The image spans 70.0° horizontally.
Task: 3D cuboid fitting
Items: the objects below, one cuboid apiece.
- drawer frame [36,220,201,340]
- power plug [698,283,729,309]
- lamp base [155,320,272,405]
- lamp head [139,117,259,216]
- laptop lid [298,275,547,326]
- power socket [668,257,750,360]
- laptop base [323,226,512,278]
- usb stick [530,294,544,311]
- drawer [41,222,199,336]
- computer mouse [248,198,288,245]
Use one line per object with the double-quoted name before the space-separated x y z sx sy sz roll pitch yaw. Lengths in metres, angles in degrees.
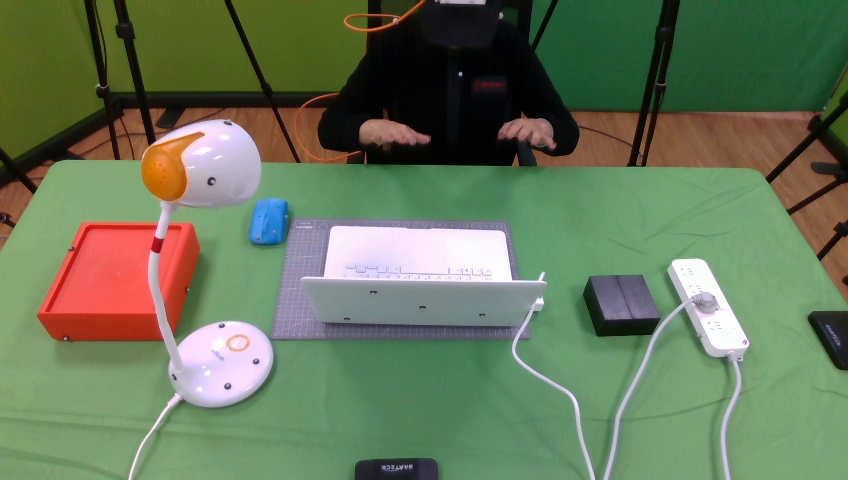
"drawer frame" -0.518 0.065 1.055 0.202 0.083 0.212 0 47 -5
"power plug" 0.510 0.096 1.060 0.052 0.073 0.035 -20 61 9
"lamp base" -0.330 0.149 0.918 0.160 0.181 0.179 26 52 20
"lamp head" -0.281 -0.086 0.734 0.112 0.113 0.123 21 25 16
"laptop lid" -0.004 0.099 0.947 0.357 0.242 0.013 2 67 -4
"power socket" 0.517 0.117 1.110 0.072 0.033 0.225 -3 47 -4
"laptop base" -0.010 0.063 1.137 0.354 0.023 0.234 1 42 -3
"usb stick" 0.183 0.111 1.086 0.059 0.027 0.021 0 47 -4
"drawer" -0.519 0.064 1.058 0.195 0.073 0.210 1 46 -4
"computer mouse" -0.309 -0.041 1.205 0.063 0.041 0.116 3 50 -3
